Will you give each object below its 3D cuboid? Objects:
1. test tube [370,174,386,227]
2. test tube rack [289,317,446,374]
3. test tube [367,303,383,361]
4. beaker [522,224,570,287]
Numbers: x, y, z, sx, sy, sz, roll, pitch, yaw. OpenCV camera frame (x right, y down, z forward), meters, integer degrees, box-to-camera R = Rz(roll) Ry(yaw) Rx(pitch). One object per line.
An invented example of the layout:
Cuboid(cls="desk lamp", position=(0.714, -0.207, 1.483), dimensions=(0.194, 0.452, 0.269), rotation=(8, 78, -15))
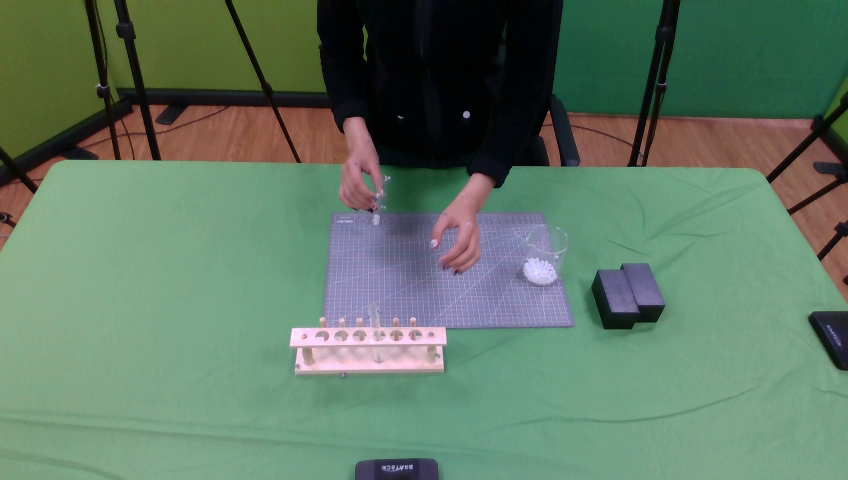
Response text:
Cuboid(cls="test tube", position=(-0.085, -0.069, 1.106), dimensions=(0.017, 0.151, 0.017), rotation=(5, 56, -8))
Cuboid(cls="test tube rack", position=(-0.089, 0.167, 0.987), dimensions=(0.242, 0.085, 0.066), rotation=(0, 46, -4))
Cuboid(cls="test tube", position=(-0.075, 0.146, 0.941), dimensions=(0.017, 0.151, 0.017), rotation=(0, 49, 0))
Cuboid(cls="beaker", position=(0.221, 0.032, 1.129), dimensions=(0.084, 0.101, 0.073), rotation=(-7, 46, -9))
